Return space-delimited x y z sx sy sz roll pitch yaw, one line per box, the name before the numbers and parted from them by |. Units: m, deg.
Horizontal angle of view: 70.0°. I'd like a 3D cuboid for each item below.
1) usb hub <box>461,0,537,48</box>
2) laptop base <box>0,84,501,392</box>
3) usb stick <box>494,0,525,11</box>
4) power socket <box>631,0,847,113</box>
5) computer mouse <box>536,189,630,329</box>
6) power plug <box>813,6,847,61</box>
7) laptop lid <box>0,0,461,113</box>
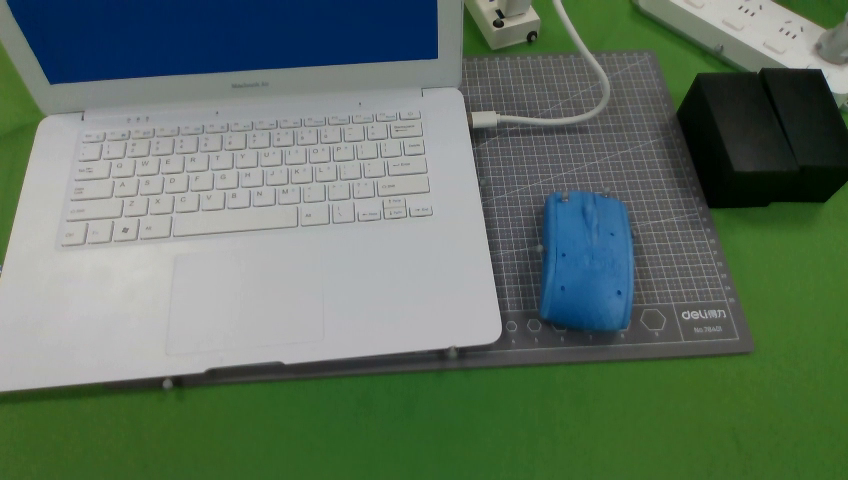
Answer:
usb hub | 0.061 -0.242 0.591 0.049 0.025 0.124 -18 62 -11
laptop base | -0.133 -0.014 0.463 0.355 0.023 0.233 -5 64 -4
usb stick | 0.077 -0.228 0.547 0.027 0.059 0.021 -27 73 -9
power socket | 0.303 -0.198 0.568 0.225 0.033 0.072 40 66 20
computer mouse | 0.116 0.008 0.441 0.063 0.041 0.116 8 56 6
power plug | 0.376 -0.182 0.534 0.072 0.053 0.035 -33 64 -16
laptop lid | -0.147 -0.198 0.432 0.357 0.244 0.013 -6 47 -3
